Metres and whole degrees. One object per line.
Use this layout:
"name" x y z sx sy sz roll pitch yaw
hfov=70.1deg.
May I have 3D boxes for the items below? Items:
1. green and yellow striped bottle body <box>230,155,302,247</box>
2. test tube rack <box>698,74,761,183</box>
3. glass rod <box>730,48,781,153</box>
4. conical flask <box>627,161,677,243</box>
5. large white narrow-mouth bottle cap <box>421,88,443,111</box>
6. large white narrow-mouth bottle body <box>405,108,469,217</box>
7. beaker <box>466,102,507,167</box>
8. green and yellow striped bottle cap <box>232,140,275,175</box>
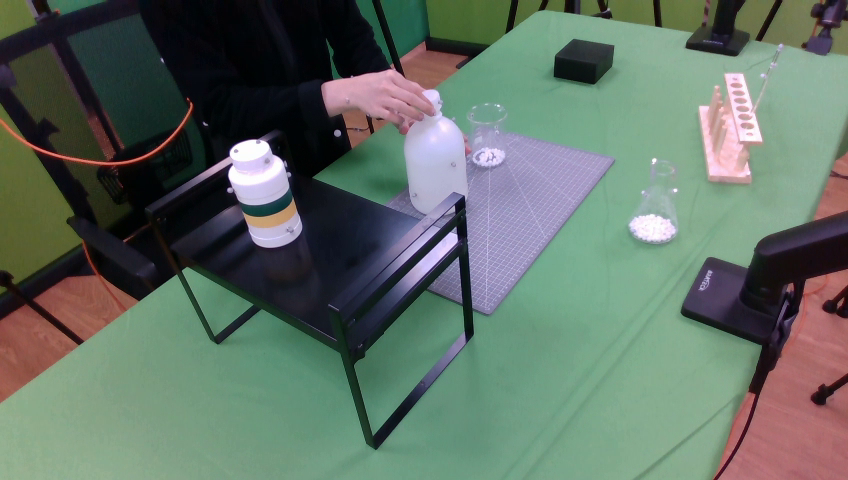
"green and yellow striped bottle body" -0.188 -0.055 0.714 0.063 0.120 0.063 -4 41 4
"test tube rack" 0.547 -0.208 1.095 0.066 0.085 0.242 5 42 15
"glass rod" 0.554 -0.228 1.015 0.008 0.200 0.008 1 44 -1
"conical flask" 0.355 -0.061 0.921 0.075 0.122 0.075 -4 41 4
"large white narrow-mouth bottle cap" 0.012 -0.219 0.943 0.038 0.024 0.037 -4 38 3
"large white narrow-mouth bottle body" 0.020 -0.141 1.004 0.102 0.195 0.101 -4 38 3
"beaker" 0.121 -0.195 1.124 0.084 0.100 0.073 -34 48 -28
"green and yellow striped bottle cap" -0.192 -0.093 0.680 0.045 0.020 0.045 -5 39 5
